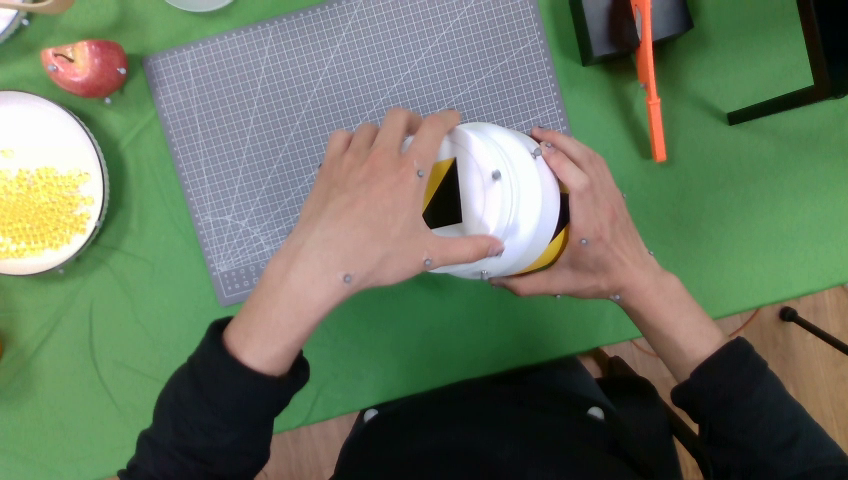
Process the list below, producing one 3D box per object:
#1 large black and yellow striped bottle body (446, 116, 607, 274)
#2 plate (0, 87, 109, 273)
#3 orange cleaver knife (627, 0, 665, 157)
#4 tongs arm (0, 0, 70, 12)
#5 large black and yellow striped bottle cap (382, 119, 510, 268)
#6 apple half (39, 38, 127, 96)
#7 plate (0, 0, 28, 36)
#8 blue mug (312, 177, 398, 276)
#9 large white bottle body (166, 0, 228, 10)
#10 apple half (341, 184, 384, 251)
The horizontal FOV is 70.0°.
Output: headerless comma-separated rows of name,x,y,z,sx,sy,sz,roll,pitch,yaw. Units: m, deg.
large black and yellow striped bottle body,0.066,-0.037,0.534,0.130,0.185,0.131,1,92,39
plate,-0.460,-0.067,0.692,0.209,0.038,0.209,0,95,1
orange cleaver knife,0.237,-0.193,0.653,0.012,0.076,0.213,-14,121,10
tongs arm,-0.567,-0.290,0.642,0.385,0.026,0.051,13,91,1
large black and yellow striped bottle cap,0.013,-0.035,0.468,0.114,0.019,0.115,1,92,39
apple half,-0.368,-0.185,0.664,0.081,0.074,0.053,-12,98,-2
plate,-0.532,-0.310,0.672,0.208,0.039,0.208,0,95,0
blue mug,-0.062,-0.011,0.657,0.082,0.105,0.116,-31,94,3
large white bottle body,-0.257,-0.319,0.596,0.130,0.184,0.130,0,94,1
apple half,-0.059,-0.021,0.651,0.033,0.081,0.081,16,95,7
